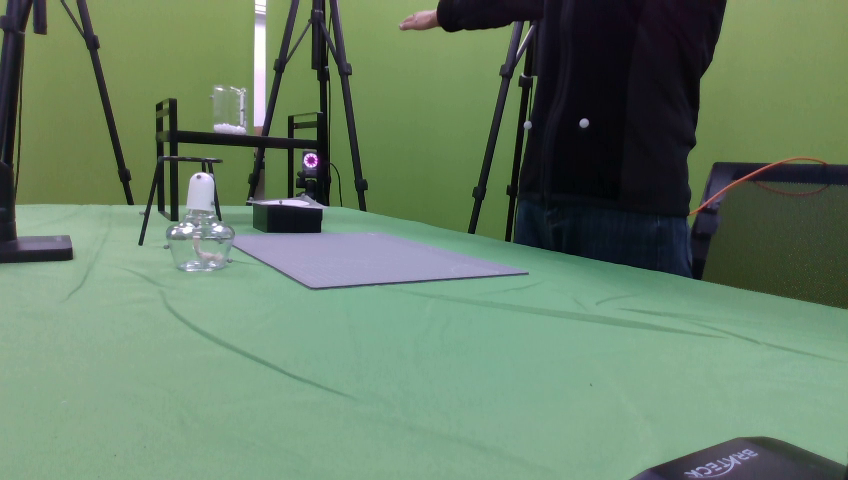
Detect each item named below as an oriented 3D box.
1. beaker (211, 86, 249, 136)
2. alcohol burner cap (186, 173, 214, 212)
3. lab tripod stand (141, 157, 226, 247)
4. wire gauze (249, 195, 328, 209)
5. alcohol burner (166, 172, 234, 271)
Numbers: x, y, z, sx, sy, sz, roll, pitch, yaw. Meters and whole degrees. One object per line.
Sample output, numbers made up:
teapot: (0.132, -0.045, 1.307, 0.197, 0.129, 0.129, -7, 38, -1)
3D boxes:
beaker: (-0.413, -0.274, 1.297, 0.074, 0.100, 0.083, -5, 11, -44)
alcohol burner cap: (-0.268, -0.057, 0.730, 0.034, 0.048, 0.034, 5, 2, 0)
lab tripod stand: (-0.353, -0.060, 0.920, 0.148, 0.131, 0.148, 1, 6, 0)
wire gauze: (-0.260, -0.071, 1.139, 0.126, 0.011, 0.121, -3, 12, -28)
alcohol burner: (-0.271, -0.023, 0.734, 0.078, 0.119, 0.078, 2, 6, 0)
